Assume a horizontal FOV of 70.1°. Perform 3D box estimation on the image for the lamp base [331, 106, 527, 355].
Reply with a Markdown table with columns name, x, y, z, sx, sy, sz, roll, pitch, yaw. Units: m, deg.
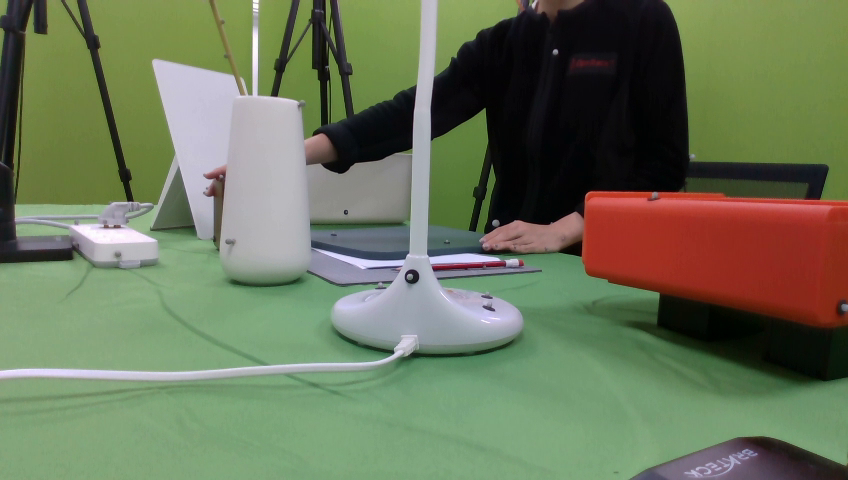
| name | x | y | z | sx | sy | sz | roll | pitch | yaw |
| --- | --- | --- | --- | --- | --- | --- | --- | --- | --- |
| lamp base | 0.006 | -0.012 | 0.478 | 0.161 | 0.180 | 0.179 | 2 | 10 | 2 |

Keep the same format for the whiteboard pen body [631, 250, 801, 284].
| name | x | y | z | sx | sy | sz | roll | pitch | yaw |
| --- | --- | --- | --- | --- | --- | --- | --- | --- | --- |
| whiteboard pen body | 0.240 | 0.020 | 0.512 | 0.017 | 0.017 | 0.140 | -4 | 8 | -41 |

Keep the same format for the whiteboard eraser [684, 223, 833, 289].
| name | x | y | z | sx | sy | sz | roll | pitch | yaw |
| --- | --- | --- | --- | --- | --- | --- | --- | --- | --- |
| whiteboard eraser | 0.305 | 0.013 | 0.558 | 0.056 | 0.042 | 0.112 | -9 | 19 | -31 |

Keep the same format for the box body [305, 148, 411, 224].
| name | x | y | z | sx | sy | sz | roll | pitch | yaw |
| --- | --- | --- | --- | --- | --- | --- | --- | --- | --- |
| box body | -0.233 | -0.127 | 1.374 | 0.366 | 0.160 | 0.253 | -2 | 8 | -29 |

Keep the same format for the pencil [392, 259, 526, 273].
| name | x | y | z | sx | sy | sz | roll | pitch | yaw |
| --- | --- | --- | --- | --- | --- | --- | --- | --- | --- |
| pencil | 0.049 | 0.035 | 0.782 | 0.195 | 0.012 | 0.012 | -3 | 9 | -25 |

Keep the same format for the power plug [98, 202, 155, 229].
| name | x | y | z | sx | sy | sz | roll | pitch | yaw |
| --- | --- | --- | --- | --- | --- | --- | --- | --- | --- |
| power plug | -0.416 | -0.026 | 0.848 | 0.073 | 0.052 | 0.035 | 0 | 8 | -28 |

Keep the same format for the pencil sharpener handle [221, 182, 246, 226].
| name | x | y | z | sx | sy | sz | roll | pitch | yaw |
| --- | --- | --- | --- | --- | --- | --- | --- | --- | --- |
| pencil sharpener handle | -0.290 | -0.055 | 0.912 | 0.036 | 0.067 | 0.030 | -2 | 8 | -30 |

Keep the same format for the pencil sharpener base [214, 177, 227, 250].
| name | x | y | z | sx | sy | sz | roll | pitch | yaw |
| --- | --- | --- | --- | --- | --- | --- | --- | --- | --- |
| pencil sharpener base | -0.265 | -0.037 | 0.870 | 0.061 | 0.107 | 0.076 | -2 | 8 | -29 |

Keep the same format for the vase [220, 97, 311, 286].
| name | x | y | z | sx | sy | sz | roll | pitch | yaw |
| --- | --- | --- | --- | --- | --- | --- | --- | --- | --- |
| vase | -0.172 | -0.052 | 0.662 | 0.098 | 0.200 | 0.098 | 3 | 9 | 0 |

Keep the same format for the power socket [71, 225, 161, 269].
| name | x | y | z | sx | sy | sz | roll | pitch | yaw |
| --- | --- | --- | --- | --- | --- | --- | --- | --- | --- |
| power socket | -0.408 | 0.004 | 0.793 | 0.072 | 0.032 | 0.225 | -2 | 8 | -38 |

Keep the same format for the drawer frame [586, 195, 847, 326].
| name | x | y | z | sx | sy | sz | roll | pitch | yaw |
| --- | --- | --- | --- | --- | --- | --- | --- | --- | --- |
| drawer frame | 0.284 | 0.004 | 0.508 | 0.203 | 0.082 | 0.212 | -1 | 6 | -28 |

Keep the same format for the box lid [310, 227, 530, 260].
| name | x | y | z | sx | sy | sz | roll | pitch | yaw |
| --- | --- | --- | --- | --- | --- | --- | --- | --- | --- |
| box lid | -0.024 | 0.001 | 1.023 | 0.374 | 0.015 | 0.262 | -3 | 9 | -44 |

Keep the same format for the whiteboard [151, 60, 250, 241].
| name | x | y | z | sx | sy | sz | roll | pitch | yaw |
| --- | --- | --- | --- | --- | --- | --- | --- | --- | --- |
| whiteboard | -0.408 | -0.139 | 1.093 | 0.143 | 0.305 | 0.218 | -15 | 0 | 25 |

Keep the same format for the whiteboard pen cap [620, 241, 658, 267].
| name | x | y | z | sx | sy | sz | roll | pitch | yaw |
| --- | --- | --- | --- | --- | --- | --- | --- | --- | --- |
| whiteboard pen cap | 0.199 | 0.013 | 0.557 | 0.018 | 0.018 | 0.033 | -4 | 18 | -40 |

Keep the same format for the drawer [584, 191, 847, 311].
| name | x | y | z | sx | sy | sz | roll | pitch | yaw |
| --- | --- | --- | --- | --- | --- | --- | --- | --- | --- |
| drawer | 0.280 | 0.001 | 0.513 | 0.195 | 0.073 | 0.211 | 0 | 8 | -28 |

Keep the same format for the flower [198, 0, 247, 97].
| name | x | y | z | sx | sy | sz | roll | pitch | yaw |
| --- | --- | --- | --- | --- | --- | --- | --- | --- | --- |
| flower | -0.187 | -0.133 | 0.648 | 0.038 | 0.362 | 0.044 | -1 | 22 | 43 |
